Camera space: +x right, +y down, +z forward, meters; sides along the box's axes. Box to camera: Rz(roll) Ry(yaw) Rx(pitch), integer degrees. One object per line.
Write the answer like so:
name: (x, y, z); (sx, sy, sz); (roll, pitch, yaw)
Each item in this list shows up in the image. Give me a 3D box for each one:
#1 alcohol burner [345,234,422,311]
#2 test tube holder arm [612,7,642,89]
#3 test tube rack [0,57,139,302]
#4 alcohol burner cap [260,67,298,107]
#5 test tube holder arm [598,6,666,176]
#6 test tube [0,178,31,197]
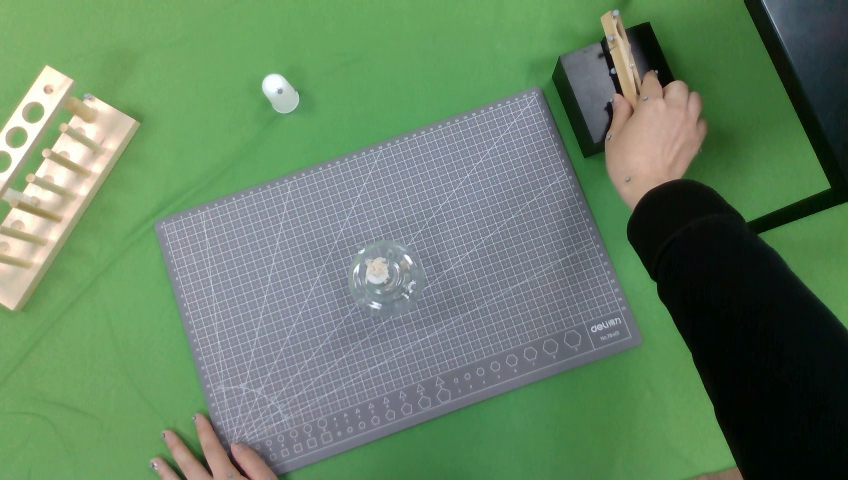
alcohol burner: (-0.042, 0.030, 0.592); (0.078, 0.119, 0.077); (-1, 81, 4)
test tube holder arm: (0.201, -0.193, 0.613); (0.010, 0.015, 0.087); (-11, 82, -30)
test tube rack: (-0.410, -0.058, 0.631); (0.066, 0.085, 0.242); (30, 84, 6)
alcohol burner cap: (-0.160, -0.170, 0.658); (0.034, 0.048, 0.033); (-1, 79, 6)
test tube holder arm: (0.208, -0.149, 0.605); (0.013, 0.015, 0.178); (-12, 83, -30)
test tube: (-0.431, -0.065, 0.582); (0.017, 0.151, 0.017); (0, 78, 2)
